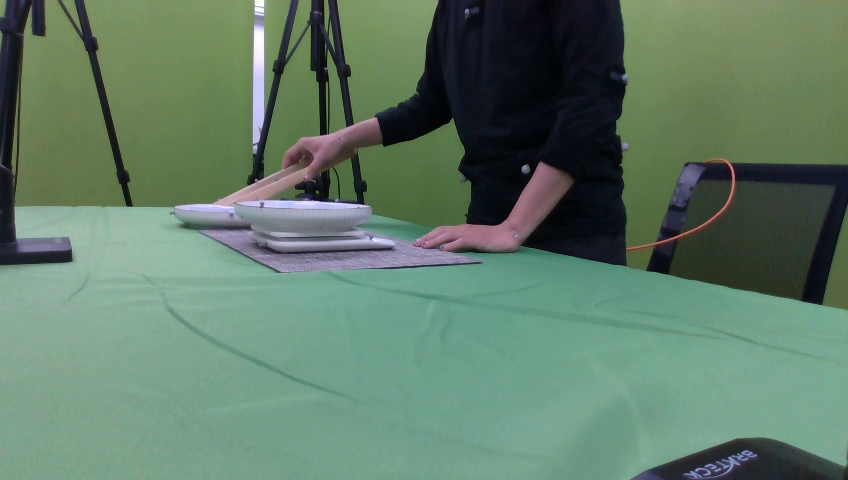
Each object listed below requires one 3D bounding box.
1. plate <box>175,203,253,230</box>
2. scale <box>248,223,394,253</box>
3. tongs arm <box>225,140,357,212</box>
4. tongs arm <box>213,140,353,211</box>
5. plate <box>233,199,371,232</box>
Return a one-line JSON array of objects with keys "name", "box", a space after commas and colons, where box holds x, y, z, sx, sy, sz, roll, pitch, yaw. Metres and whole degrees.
[{"name": "plate", "box": [-0.381, -0.047, 1.199, 0.208, 0.039, 0.207, 3, 7, 0]}, {"name": "scale", "box": [-0.162, -0.006, 0.954, 0.202, 0.031, 0.148, -2, 8, -32]}, {"name": "tongs arm", "box": [-0.275, -0.144, 1.328, 0.028, 0.028, 0.389, 3, 28, 41]}, {"name": "tongs arm", "box": [-0.298, -0.148, 1.347, 0.050, 0.026, 0.386, 5, 29, 37]}, {"name": "plate", "box": [-0.188, -0.039, 0.939, 0.209, 0.038, 0.209, 2, 7, 0]}]
